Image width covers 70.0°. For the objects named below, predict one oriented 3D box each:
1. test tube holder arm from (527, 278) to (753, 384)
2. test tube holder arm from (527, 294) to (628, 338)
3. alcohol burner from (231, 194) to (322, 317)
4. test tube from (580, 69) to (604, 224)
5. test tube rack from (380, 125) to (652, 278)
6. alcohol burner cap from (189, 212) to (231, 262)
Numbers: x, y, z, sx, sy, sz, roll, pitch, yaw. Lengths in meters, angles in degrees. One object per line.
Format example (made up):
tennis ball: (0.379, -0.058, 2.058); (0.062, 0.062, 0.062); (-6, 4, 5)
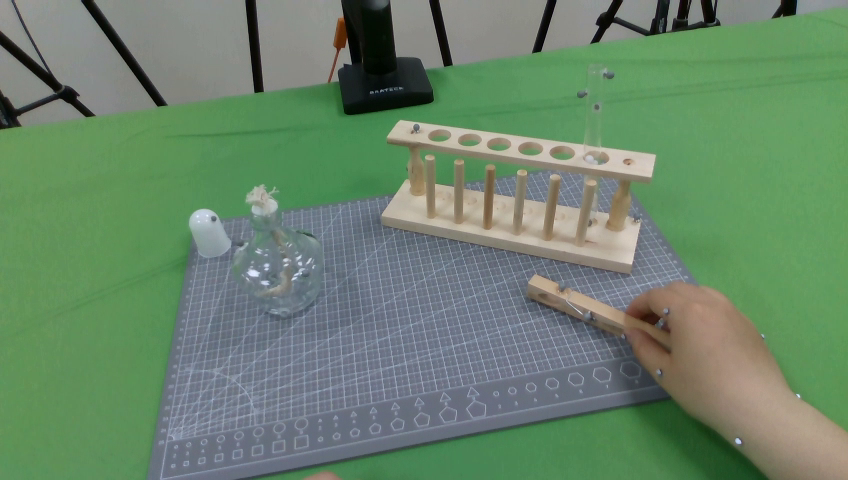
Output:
test tube holder arm: (0.165, 0.070, 0.481); (0.177, 0.013, 0.015); (22, 53, 25)
test tube holder arm: (0.128, 0.060, 0.505); (0.087, 0.010, 0.015); (17, 51, 30)
alcohol burner: (-0.127, 0.009, 0.510); (0.078, 0.120, 0.077); (-1, 42, 2)
test tube: (0.145, -0.076, 0.526); (0.017, 0.152, 0.017); (-6, 39, 5)
test tube rack: (0.078, -0.040, 0.568); (0.241, 0.086, 0.066); (11, 44, 18)
alcohol burner cap: (-0.210, -0.006, 0.589); (0.034, 0.048, 0.033); (-2, 42, 2)
